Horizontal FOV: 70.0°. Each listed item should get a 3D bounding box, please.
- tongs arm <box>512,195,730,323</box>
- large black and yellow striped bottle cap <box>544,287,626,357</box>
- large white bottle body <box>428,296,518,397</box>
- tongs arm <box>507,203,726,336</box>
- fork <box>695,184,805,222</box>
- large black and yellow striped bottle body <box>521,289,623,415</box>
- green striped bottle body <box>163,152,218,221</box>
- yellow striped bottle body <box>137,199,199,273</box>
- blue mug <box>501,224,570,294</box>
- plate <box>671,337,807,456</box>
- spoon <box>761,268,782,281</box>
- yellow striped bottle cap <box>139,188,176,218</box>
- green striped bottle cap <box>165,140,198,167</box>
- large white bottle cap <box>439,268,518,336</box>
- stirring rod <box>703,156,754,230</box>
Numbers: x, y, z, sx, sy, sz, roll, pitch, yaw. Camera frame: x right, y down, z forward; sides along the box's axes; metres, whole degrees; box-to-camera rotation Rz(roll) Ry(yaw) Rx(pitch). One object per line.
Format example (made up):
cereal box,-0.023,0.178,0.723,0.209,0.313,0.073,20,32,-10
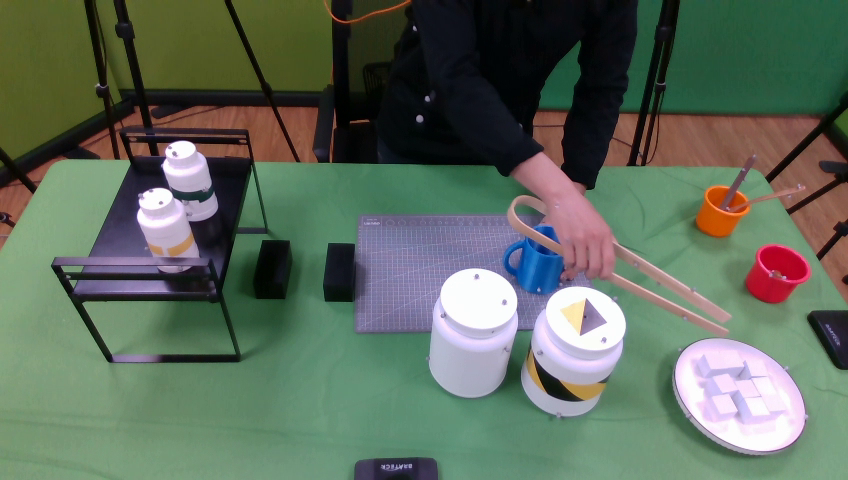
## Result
tongs arm,0.309,0.035,0.967,0.384,0.026,0.050,34,63,5
large black and yellow striped bottle cap,0.232,0.116,0.876,0.115,0.019,0.114,2,45,-1
large white bottle body,0.076,0.147,0.950,0.131,0.185,0.130,2,46,-2
tongs arm,0.299,0.050,0.957,0.387,0.028,0.028,29,66,2
fork,0.657,-0.075,1.230,0.207,0.019,0.028,-23,34,37
large black and yellow striped bottle body,0.228,0.173,0.938,0.131,0.185,0.130,2,47,-2
green striped bottle body,-0.363,-0.092,0.939,0.063,0.120,0.063,2,46,-2
yellow striped bottle body,-0.366,-0.014,0.864,0.063,0.121,0.062,2,46,-2
blue mug,0.201,0.034,1.118,0.116,0.106,0.082,3,47,-1
plate,0.504,0.253,0.984,0.208,0.039,0.206,2,46,-2
spoon,0.638,0.060,1.105,0.041,0.021,0.194,38,11,24
yellow striped bottle cap,-0.363,-0.051,0.826,0.044,0.019,0.044,1,47,-1
green striped bottle cap,-0.361,-0.128,0.902,0.044,0.020,0.044,3,47,-3
large white bottle cap,0.080,0.089,0.888,0.115,0.018,0.114,2,47,-2
stirring rod,0.631,-0.098,1.258,0.014,0.006,0.176,33,95,29
